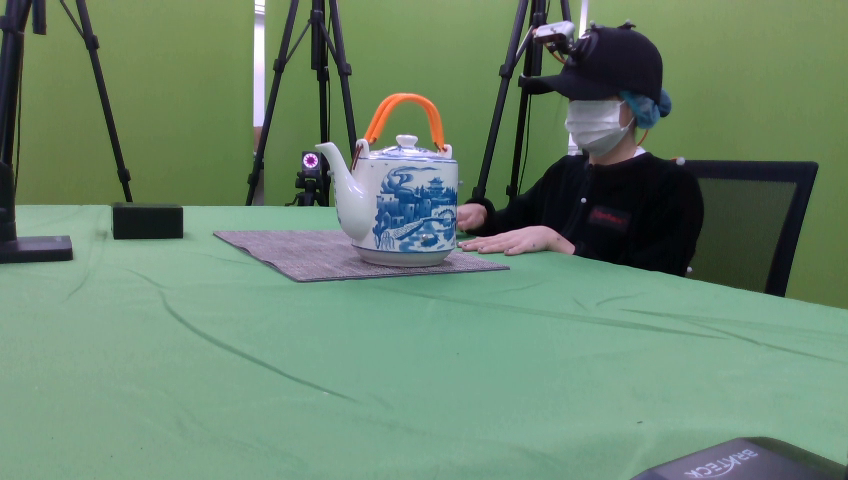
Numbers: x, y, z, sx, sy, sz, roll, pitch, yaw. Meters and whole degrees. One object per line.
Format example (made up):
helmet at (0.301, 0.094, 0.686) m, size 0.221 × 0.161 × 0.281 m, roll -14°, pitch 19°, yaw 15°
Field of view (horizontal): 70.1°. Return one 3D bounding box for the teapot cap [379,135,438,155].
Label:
teapot cap at (-0.023, -0.119, 0.812) m, size 0.085 × 0.044 × 0.085 m, roll 2°, pitch 9°, yaw 0°

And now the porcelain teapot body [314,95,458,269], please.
porcelain teapot body at (-0.049, -0.079, 0.800) m, size 0.206 × 0.225 × 0.144 m, roll -3°, pitch 9°, yaw -37°
